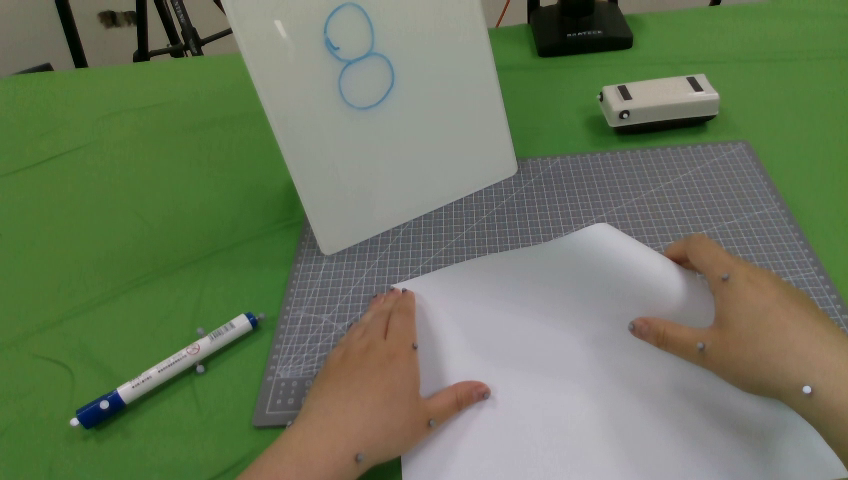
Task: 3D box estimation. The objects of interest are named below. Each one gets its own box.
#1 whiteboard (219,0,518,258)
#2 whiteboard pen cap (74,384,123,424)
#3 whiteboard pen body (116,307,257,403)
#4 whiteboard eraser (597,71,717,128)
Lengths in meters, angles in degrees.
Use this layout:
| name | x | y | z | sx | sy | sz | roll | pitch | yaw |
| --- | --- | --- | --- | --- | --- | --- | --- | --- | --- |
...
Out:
| name | x | y | z | sx | sy | sz | roll | pitch | yaw |
| --- | --- | --- | --- | --- | --- | --- | --- | --- | --- |
| whiteboard | -0.065 | -0.179 | 0.581 | 0.217 | 0.308 | 0.142 | -24 | 26 | -14 |
| whiteboard pen cap | -0.244 | 0.122 | 0.457 | 0.033 | 0.018 | 0.018 | -33 | 49 | -24 |
| whiteboard pen body | -0.198 | 0.095 | 0.481 | 0.141 | 0.017 | 0.017 | -32 | 49 | -24 |
| whiteboard eraser | 0.246 | -0.148 | 0.646 | 0.112 | 0.042 | 0.055 | -6 | 46 | 2 |
